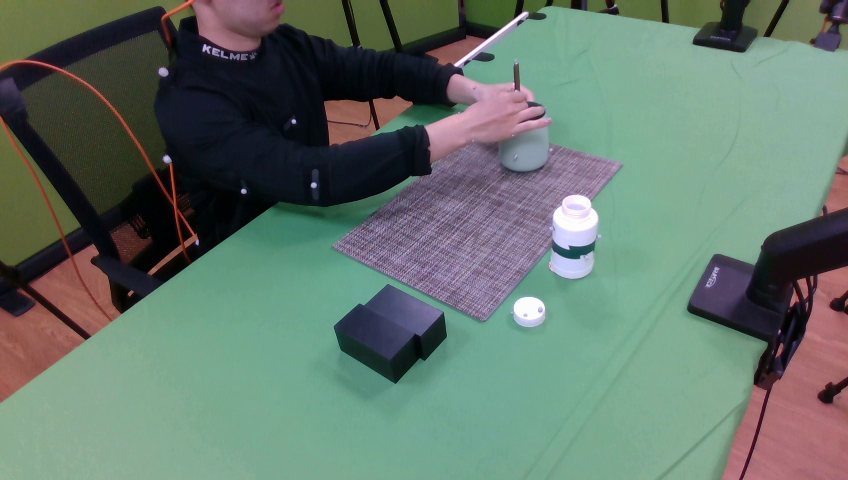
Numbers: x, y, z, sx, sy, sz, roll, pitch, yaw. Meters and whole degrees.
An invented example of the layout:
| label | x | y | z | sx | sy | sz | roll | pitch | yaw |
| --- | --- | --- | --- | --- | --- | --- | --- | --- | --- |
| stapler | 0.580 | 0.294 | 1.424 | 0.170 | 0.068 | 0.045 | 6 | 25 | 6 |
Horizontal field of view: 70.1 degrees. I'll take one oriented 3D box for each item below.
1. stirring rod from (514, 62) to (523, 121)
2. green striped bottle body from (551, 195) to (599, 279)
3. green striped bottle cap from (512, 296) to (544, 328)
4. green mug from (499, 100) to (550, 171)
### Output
| label | x | y | z | sx | sy | sz | roll | pitch | yaw |
| --- | --- | --- | --- | --- | --- | --- | --- | --- | --- |
| stirring rod | 0.170 | -0.231 | 1.075 | 0.006 | 0.177 | 0.014 | 12 | 43 | 28 |
| green striped bottle body | 0.217 | -0.007 | 0.870 | 0.063 | 0.120 | 0.063 | -4 | 41 | 4 |
| green striped bottle cap | 0.144 | 0.099 | 0.837 | 0.044 | 0.020 | 0.044 | -1 | 43 | 2 |
| green mug | 0.183 | -0.198 | 1.101 | 0.092 | 0.105 | 0.125 | 1 | 41 | 9 |
